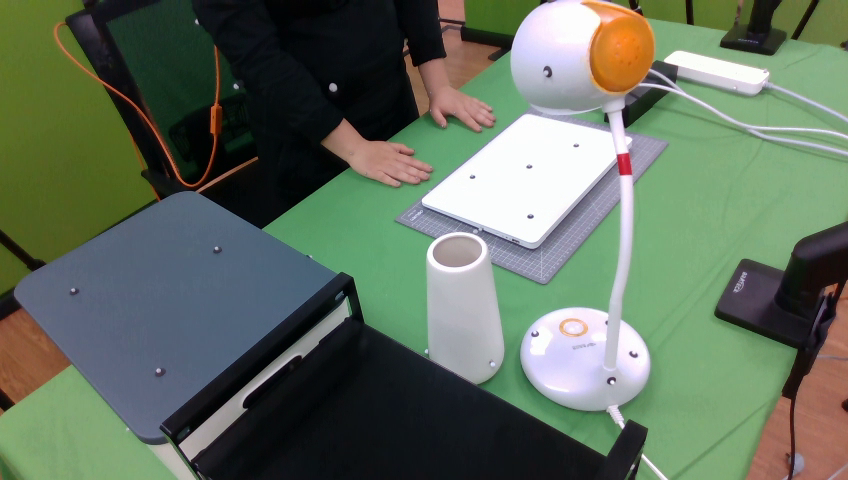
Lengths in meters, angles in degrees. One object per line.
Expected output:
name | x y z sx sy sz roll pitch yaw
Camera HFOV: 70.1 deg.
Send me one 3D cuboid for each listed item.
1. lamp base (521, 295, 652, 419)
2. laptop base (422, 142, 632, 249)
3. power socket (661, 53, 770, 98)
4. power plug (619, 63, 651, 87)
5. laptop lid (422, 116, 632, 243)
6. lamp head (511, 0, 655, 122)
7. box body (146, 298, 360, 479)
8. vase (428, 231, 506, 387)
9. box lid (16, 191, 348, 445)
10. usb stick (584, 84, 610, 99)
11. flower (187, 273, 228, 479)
lamp base | 0.201 0.095 0.710 0.161 0.181 0.178 -16 43 -10
laptop base | 0.193 -0.117 1.087 0.233 0.023 0.355 21 47 34
power socket | 0.617 -0.355 1.292 0.225 0.033 0.072 29 53 35
power plug | 0.435 -0.341 1.265 0.035 0.053 0.072 6 29 -14
laptop lid | 0.189 -0.126 1.081 0.239 0.013 0.358 23 48 35
lamp head | 0.155 -0.168 0.563 0.113 0.113 0.122 -18 23 -12
box body | -0.288 0.118 0.772 0.361 0.161 0.255 26 50 33
vase | 0.050 0.087 0.728 0.098 0.201 0.097 -3 40 3
box lid | -0.295 0.062 0.723 0.368 0.015 0.264 26 51 34
usb stick | 0.353 -0.306 1.252 0.027 0.021 0.058 0 0 -40
flower | -0.282 0.161 0.819 0.044 0.038 0.359 9 34 -22
